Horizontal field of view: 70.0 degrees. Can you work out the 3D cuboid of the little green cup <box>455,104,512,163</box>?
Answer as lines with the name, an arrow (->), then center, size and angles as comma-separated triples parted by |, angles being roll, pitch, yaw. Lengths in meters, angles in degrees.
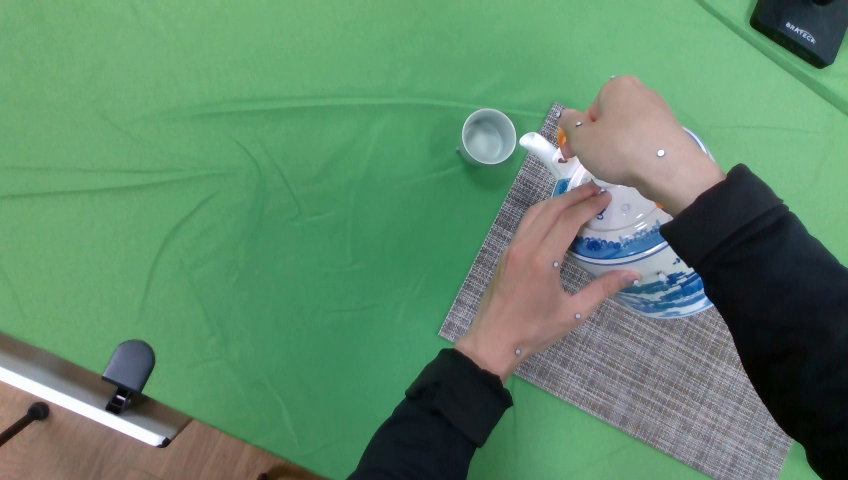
little green cup -> 0.063, -0.115, 0.669 | 0.062, 0.038, 0.061 | 1, 86, -10

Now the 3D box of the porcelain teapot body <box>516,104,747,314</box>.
porcelain teapot body -> 0.168, -0.045, 0.559 | 0.228, 0.203, 0.145 | 35, 91, -41

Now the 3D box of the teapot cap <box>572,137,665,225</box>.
teapot cap -> 0.160, -0.053, 0.510 | 0.044, 0.084, 0.085 | 36, 80, -38
